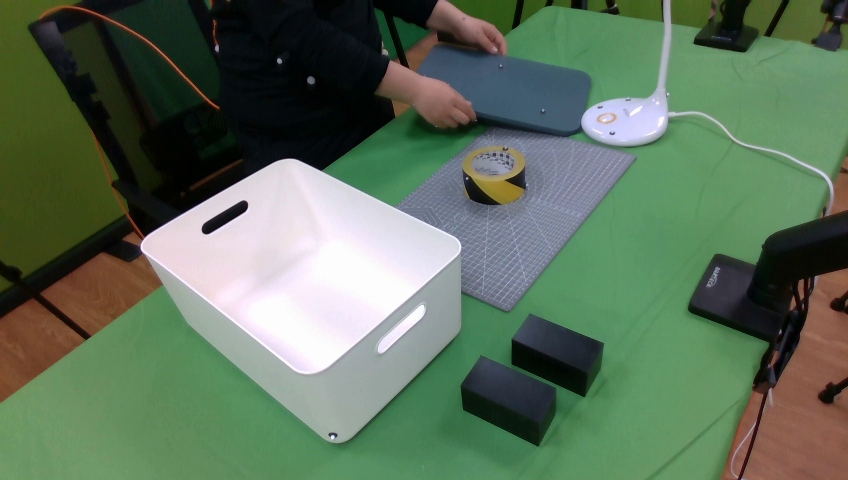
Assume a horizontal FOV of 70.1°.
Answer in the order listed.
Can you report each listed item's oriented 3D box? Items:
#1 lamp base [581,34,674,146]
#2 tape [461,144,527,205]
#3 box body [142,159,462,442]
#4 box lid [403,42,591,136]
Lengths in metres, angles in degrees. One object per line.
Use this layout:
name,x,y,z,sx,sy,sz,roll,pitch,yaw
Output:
lamp base,0.392,-0.291,1.129,0.180,0.181,0.159,-11,41,-8
tape,0.124,-0.116,1.058,0.117,0.053,0.116,-4,42,4
box body,-0.152,0.063,0.809,0.361,0.161,0.255,27,51,33
box lid,0.164,-0.329,1.286,0.371,0.015,0.263,15,45,9
